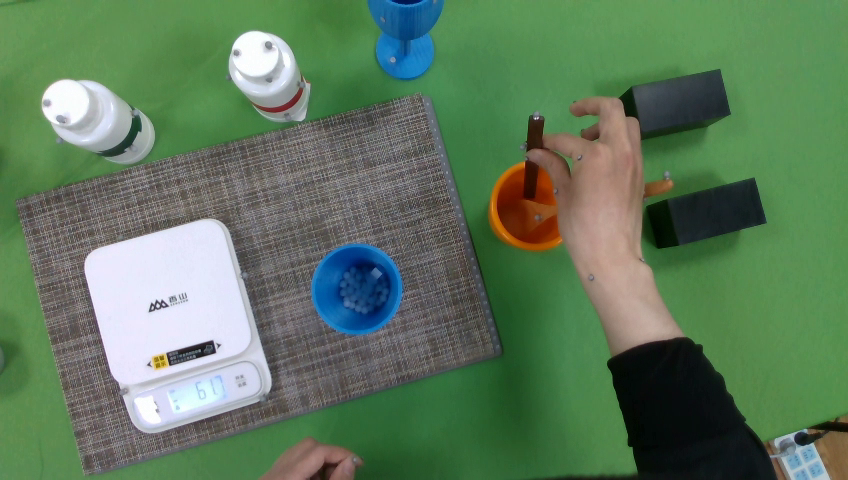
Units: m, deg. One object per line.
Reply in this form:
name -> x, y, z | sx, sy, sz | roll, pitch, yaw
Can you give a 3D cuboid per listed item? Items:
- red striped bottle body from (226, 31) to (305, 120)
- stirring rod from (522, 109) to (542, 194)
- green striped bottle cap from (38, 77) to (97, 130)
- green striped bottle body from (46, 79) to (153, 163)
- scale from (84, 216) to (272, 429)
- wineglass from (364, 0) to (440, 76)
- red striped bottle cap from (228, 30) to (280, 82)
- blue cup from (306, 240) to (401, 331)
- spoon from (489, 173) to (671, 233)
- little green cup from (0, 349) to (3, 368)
red striped bottle body -> -0.159, -0.166, 0.610 | 0.063, 0.119, 0.063 | 0, 86, -3
stirring rod -> 0.103, -0.079, 0.586 | 0.014, 0.177, 0.006 | 6, 73, 10
green striped bottle cap -> -0.319, -0.123, 0.542 | 0.044, 0.020, 0.044 | 0, 87, -2
green striped bottle body -> -0.322, -0.117, 0.598 | 0.063, 0.119, 0.063 | 0, 86, -3
scale -> -0.255, 0.086, 0.630 | 0.149, 0.031, 0.200 | -17, 88, -4
wineglass -> -0.022, -0.221, 0.594 | 0.074, 0.172, 0.073 | 0, 86, -2
red striped bottle cap -> -0.156, -0.169, 0.556 | 0.044, 0.018, 0.044 | 0, 84, -2
blue cup -> -0.065, 0.045, 0.608 | 0.093, 0.100, 0.092 | 0, 87, -1
spoon -> 0.148, -0.038, 0.605 | 0.022, 0.193, 0.041 | -12, 91, -47
little green cup -> -0.467, 0.123, 0.616 | 0.061, 0.038, 0.061 | 0, 87, -4
